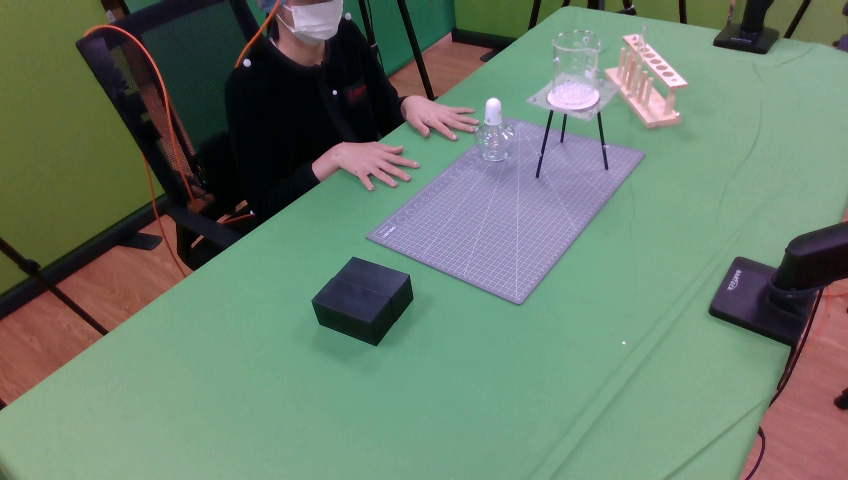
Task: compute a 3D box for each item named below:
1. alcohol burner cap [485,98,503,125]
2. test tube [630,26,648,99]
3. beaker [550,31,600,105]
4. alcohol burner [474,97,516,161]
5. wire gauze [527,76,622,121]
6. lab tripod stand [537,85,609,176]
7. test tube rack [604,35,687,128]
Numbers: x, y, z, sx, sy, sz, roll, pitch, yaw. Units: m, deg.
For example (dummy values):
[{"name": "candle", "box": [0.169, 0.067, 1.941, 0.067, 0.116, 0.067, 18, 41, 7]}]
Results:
[{"name": "alcohol burner cap", "box": [0.126, -0.234, 1.097, 0.034, 0.048, 0.033, -3, 39, 3]}, {"name": "test tube", "box": [0.426, -0.350, 1.199, 0.017, 0.151, 0.017, -4, 42, 4]}, {"name": "beaker", "box": [0.250, -0.281, 0.996, 0.074, 0.101, 0.083, -37, 49, -27]}, {"name": "alcohol burner", "box": [0.131, -0.208, 1.121, 0.078, 0.119, 0.077, -6, 40, 5]}, {"name": "wire gauze", "box": [0.255, -0.247, 1.031, 0.124, 0.011, 0.122, 23, 49, 34]}, {"name": "lab tripod stand", "box": [0.259, -0.192, 1.068, 0.148, 0.132, 0.147, -4, 43, 4]}, {"name": "test tube rack", "box": [0.447, -0.330, 1.242, 0.067, 0.085, 0.241, -9, 41, -2]}]
